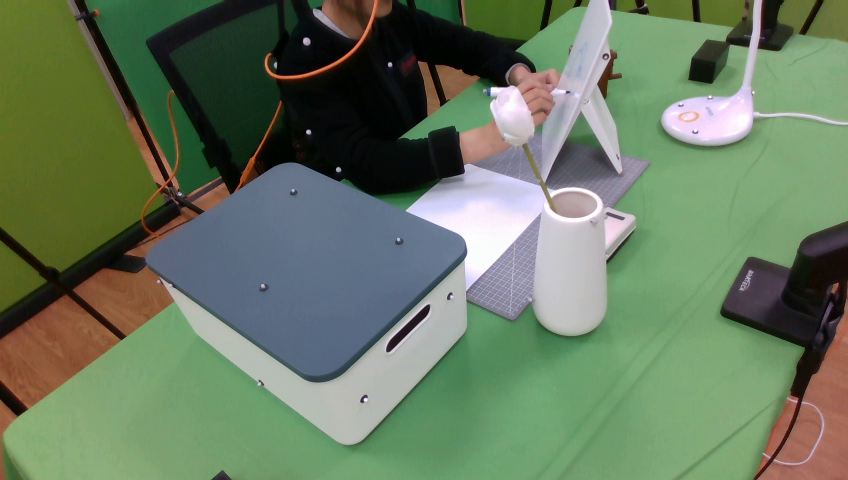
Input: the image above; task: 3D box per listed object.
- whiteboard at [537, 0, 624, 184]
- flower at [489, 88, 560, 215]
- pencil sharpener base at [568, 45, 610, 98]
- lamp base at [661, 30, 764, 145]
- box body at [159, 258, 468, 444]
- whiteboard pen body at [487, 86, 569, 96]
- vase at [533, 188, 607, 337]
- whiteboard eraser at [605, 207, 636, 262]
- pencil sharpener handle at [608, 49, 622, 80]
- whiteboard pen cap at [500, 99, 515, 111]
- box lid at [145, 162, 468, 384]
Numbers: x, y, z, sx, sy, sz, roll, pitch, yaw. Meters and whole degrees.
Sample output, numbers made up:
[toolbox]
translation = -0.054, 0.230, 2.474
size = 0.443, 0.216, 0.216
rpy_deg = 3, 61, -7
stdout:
[whiteboard]
translation = 0.316, -0.256, 1.047
size = 0.144, 0.306, 0.216
rpy_deg = 15, 42, -1
[flower]
translation = 0.159, -0.027, 0.720
size = 0.038, 0.364, 0.044
rpy_deg = -14, 44, 23
[pencil sharpener base]
translation = 0.345, -0.352, 1.263
size = 0.077, 0.107, 0.061
rpy_deg = -9, 40, 1
[lamp base]
translation = 0.535, -0.287, 1.096
size = 0.179, 0.181, 0.159
rpy_deg = -10, 40, -4
[box body]
translation = -0.147, 0.072, 0.816
size = 0.361, 0.161, 0.255
rpy_deg = 24, 50, 33
[whiteboard pen body]
translation = 0.178, -0.255, 1.033
size = 0.140, 0.017, 0.017
rpy_deg = 3, 42, 8
[vase]
translation = 0.187, 0.033, 0.771
size = 0.098, 0.201, 0.097
rpy_deg = -6, 41, 6
[whiteboard eraser]
translation = 0.273, -0.003, 0.919
size = 0.055, 0.042, 0.113
rpy_deg = 27, 51, 33
[pencil sharpener handle]
translation = 0.394, -0.368, 1.253
size = 0.030, 0.068, 0.036
rpy_deg = -9, 32, 1
[whiteboard pen cap]
translation = 0.177, -0.287, 1.289
size = 0.033, 0.018, 0.018
rpy_deg = -37, 48, -26
[box lid]
translation = -0.157, 0.014, 0.769
size = 0.368, 0.015, 0.264
rpy_deg = 25, 51, 33
